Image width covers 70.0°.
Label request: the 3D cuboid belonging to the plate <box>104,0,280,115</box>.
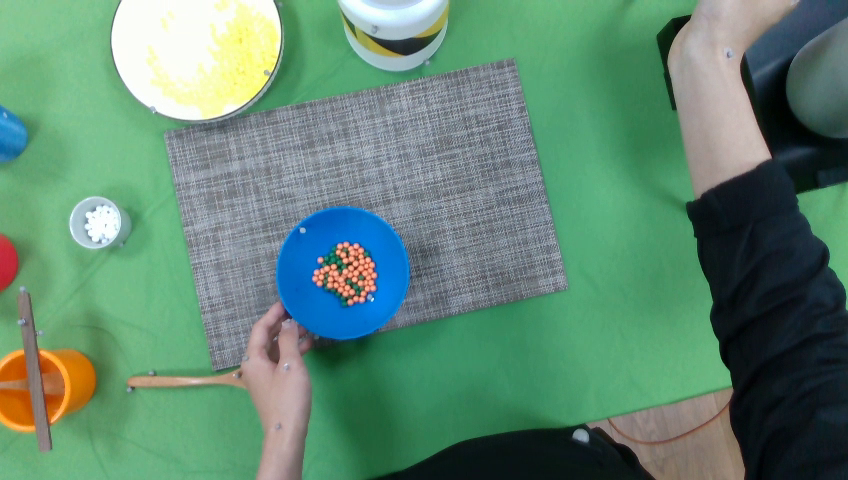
[{"bbox_3d":[-0.280,-0.253,0.745,0.209,0.038,0.209,0,88,-2],"label":"plate"}]

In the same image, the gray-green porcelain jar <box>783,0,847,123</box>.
[{"bbox_3d":[0.398,-0.165,0.538,0.106,0.126,0.105,0,87,-1],"label":"gray-green porcelain jar"}]

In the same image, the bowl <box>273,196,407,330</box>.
[{"bbox_3d":[-0.094,0.027,0.716,0.151,0.077,0.151,0,89,-1],"label":"bowl"}]

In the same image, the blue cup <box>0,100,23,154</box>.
[{"bbox_3d":[-0.526,-0.139,0.701,0.092,0.100,0.092,0,88,0],"label":"blue cup"}]

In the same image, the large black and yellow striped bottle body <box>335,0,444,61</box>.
[{"bbox_3d":[-0.040,-0.295,0.681,0.131,0.184,0.130,0,87,-1],"label":"large black and yellow striped bottle body"}]

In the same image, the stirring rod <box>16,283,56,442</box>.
[{"bbox_3d":[-0.428,0.134,0.667,0.014,0.006,0.176,-11,88,-4],"label":"stirring rod"}]

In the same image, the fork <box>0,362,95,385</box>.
[{"bbox_3d":[-0.478,0.150,0.667,0.209,0.018,0.028,10,88,-44],"label":"fork"}]

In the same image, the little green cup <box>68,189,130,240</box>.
[{"bbox_3d":[-0.389,-0.029,0.732,0.061,0.038,0.061,0,88,-1],"label":"little green cup"}]

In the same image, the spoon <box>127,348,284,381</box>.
[{"bbox_3d":[-0.265,0.155,0.736,0.194,0.021,0.042,-2,102,-2],"label":"spoon"}]
